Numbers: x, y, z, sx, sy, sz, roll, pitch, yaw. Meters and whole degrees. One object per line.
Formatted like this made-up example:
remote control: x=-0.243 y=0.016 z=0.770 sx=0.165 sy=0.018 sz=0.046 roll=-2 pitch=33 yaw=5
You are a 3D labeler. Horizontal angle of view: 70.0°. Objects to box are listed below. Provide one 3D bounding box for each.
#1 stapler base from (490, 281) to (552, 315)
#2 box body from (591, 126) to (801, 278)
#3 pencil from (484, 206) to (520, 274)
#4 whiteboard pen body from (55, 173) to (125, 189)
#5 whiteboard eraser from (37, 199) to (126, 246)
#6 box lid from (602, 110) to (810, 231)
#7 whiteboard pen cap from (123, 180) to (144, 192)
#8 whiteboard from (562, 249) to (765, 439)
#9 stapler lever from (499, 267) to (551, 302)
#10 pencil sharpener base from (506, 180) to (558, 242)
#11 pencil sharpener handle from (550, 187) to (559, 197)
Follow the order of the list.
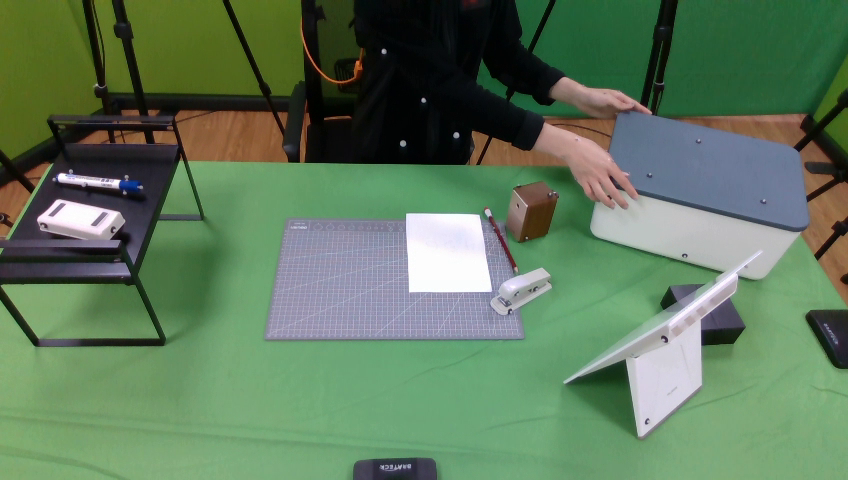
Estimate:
stapler base: x=0.181 y=0.094 z=1.118 sx=0.130 sy=0.024 sz=0.041 roll=-24 pitch=56 yaw=-29
box body: x=0.539 y=-0.093 z=1.229 sx=0.363 sy=0.161 sz=0.253 roll=16 pitch=47 yaw=11
pencil: x=0.156 y=-0.002 z=1.217 sx=0.012 sy=0.012 sz=0.192 roll=-10 pitch=48 yaw=-13
whiteboard pen body: x=-0.539 y=-0.095 z=0.998 sx=0.141 sy=0.017 sz=0.017 roll=6 pitch=46 yaw=6
whiteboard eraser: x=-0.518 y=-0.025 z=0.918 sx=0.112 sy=0.042 sz=0.055 roll=12 pitch=49 yaw=7
box lid: x=0.545 y=-0.144 z=1.176 sx=0.371 sy=0.015 sz=0.262 roll=15 pitch=47 yaw=12
whiteboard pen cap: x=-0.479 y=-0.089 z=0.993 sx=0.033 sy=0.018 sz=0.018 roll=7 pitch=46 yaw=14
whiteboard: x=0.386 y=0.176 z=0.905 sx=0.217 sy=0.306 sz=0.143 roll=-26 pitch=72 yaw=-26
stapler lever: x=0.185 y=0.076 z=1.101 sx=0.118 sy=0.040 sz=0.026 roll=-25 pitch=56 yaw=-29
pencil sharpener base: x=0.216 y=-0.059 z=1.211 sx=0.077 sy=0.107 sz=0.061 roll=-16 pitch=49 yaw=-19
pencil sharpener handle: x=0.261 y=-0.085 z=1.222 sx=0.031 sy=0.068 sz=0.036 roll=-16 pitch=70 yaw=-19
